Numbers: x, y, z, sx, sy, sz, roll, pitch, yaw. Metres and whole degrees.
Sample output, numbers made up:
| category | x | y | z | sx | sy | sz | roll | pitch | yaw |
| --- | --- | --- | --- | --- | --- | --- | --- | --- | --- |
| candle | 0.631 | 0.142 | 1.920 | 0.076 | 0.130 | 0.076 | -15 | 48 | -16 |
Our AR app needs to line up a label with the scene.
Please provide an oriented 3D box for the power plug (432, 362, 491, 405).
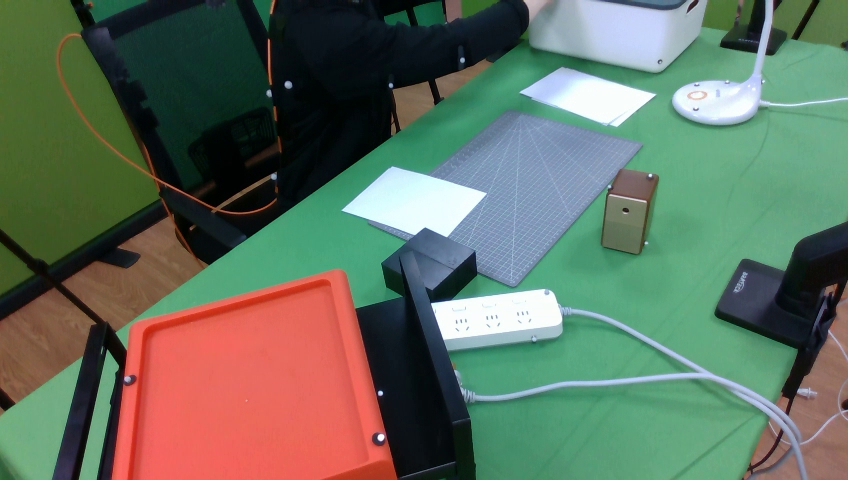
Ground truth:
| category | x | y | z | sx | sy | sz | roll | pitch | yaw |
| --- | --- | --- | --- | --- | --- | --- | --- | --- | --- |
| power plug | 0.044 | 0.182 | 0.759 | 0.073 | 0.035 | 0.052 | 23 | 42 | -19 |

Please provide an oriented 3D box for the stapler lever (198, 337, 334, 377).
| category | x | y | z | sx | sy | sz | roll | pitch | yaw |
| --- | --- | --- | --- | --- | --- | --- | --- | --- | --- |
| stapler lever | -0.142 | 0.105 | 0.541 | 0.118 | 0.040 | 0.026 | -3 | 43 | 4 |

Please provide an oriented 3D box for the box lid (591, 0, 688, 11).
| category | x | y | z | sx | sy | sz | roll | pitch | yaw |
| --- | --- | --- | --- | --- | --- | --- | --- | --- | --- |
| box lid | 0.441 | -0.595 | 1.383 | 0.368 | 0.015 | 0.264 | 24 | 49 | 31 |

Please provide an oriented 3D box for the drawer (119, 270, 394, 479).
| category | x | y | z | sx | sy | sz | roll | pitch | yaw |
| --- | --- | --- | --- | --- | --- | --- | --- | --- | --- |
| drawer | -0.141 | 0.139 | 0.509 | 0.195 | 0.073 | 0.210 | -14 | 42 | -8 |

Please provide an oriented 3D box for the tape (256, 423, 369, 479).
| category | x | y | z | sx | sy | sz | roll | pitch | yaw |
| --- | --- | --- | --- | --- | --- | --- | --- | --- | --- |
| tape | -0.121 | 0.262 | 0.660 | 0.117 | 0.053 | 0.116 | -4 | 40 | 4 |

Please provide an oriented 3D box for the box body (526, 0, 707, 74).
| category | x | y | z | sx | sy | sz | roll | pitch | yaw |
| --- | --- | --- | --- | --- | --- | --- | --- | --- | --- |
| box body | 0.450 | -0.540 | 1.430 | 0.361 | 0.161 | 0.255 | 24 | 50 | 31 |

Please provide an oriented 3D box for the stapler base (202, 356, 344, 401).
| category | x | y | z | sx | sy | sz | roll | pitch | yaw |
| --- | --- | --- | --- | --- | --- | --- | --- | --- | --- |
| stapler base | -0.141 | 0.123 | 0.557 | 0.130 | 0.024 | 0.041 | -2 | 43 | 3 |

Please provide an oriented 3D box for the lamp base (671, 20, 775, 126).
| category | x | y | z | sx | sy | sz | roll | pitch | yaw |
| --- | --- | --- | --- | --- | --- | --- | --- | --- | --- |
| lamp base | 0.582 | -0.332 | 1.153 | 0.179 | 0.181 | 0.160 | 2 | 41 | 7 |

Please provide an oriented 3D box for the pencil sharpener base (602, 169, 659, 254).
| category | x | y | z | sx | sy | sz | roll | pitch | yaw |
| --- | --- | --- | --- | --- | --- | --- | --- | --- | --- |
| pencil sharpener base | 0.312 | -0.044 | 0.913 | 0.061 | 0.107 | 0.077 | 14 | 45 | 24 |

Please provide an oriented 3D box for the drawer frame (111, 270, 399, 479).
| category | x | y | z | sx | sy | sz | roll | pitch | yaw |
| --- | --- | --- | --- | --- | --- | --- | --- | --- | --- |
| drawer frame | -0.140 | 0.140 | 0.506 | 0.202 | 0.083 | 0.212 | -15 | 41 | -9 |

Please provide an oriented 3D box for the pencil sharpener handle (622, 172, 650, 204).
| category | x | y | z | sx | sy | sz | roll | pitch | yaw |
| --- | --- | --- | --- | --- | --- | --- | --- | --- | --- |
| pencil sharpener handle | 0.328 | -0.086 | 0.940 | 0.036 | 0.068 | 0.030 | 29 | 49 | 8 |

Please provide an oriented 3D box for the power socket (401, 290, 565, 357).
| category | x | y | z | sx | sy | sz | roll | pitch | yaw |
| --- | --- | --- | --- | --- | --- | --- | --- | --- | --- |
| power socket | 0.080 | 0.113 | 0.821 | 0.227 | 0.033 | 0.072 | -6 | 41 | 0 |

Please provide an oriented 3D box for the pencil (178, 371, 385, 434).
| category | x | y | z | sx | sy | sz | roll | pitch | yaw |
| --- | --- | --- | --- | --- | --- | --- | --- | --- | --- |
| pencil | -0.128 | 0.141 | 0.534 | 0.194 | 0.012 | 0.012 | 14 | 44 | 7 |
